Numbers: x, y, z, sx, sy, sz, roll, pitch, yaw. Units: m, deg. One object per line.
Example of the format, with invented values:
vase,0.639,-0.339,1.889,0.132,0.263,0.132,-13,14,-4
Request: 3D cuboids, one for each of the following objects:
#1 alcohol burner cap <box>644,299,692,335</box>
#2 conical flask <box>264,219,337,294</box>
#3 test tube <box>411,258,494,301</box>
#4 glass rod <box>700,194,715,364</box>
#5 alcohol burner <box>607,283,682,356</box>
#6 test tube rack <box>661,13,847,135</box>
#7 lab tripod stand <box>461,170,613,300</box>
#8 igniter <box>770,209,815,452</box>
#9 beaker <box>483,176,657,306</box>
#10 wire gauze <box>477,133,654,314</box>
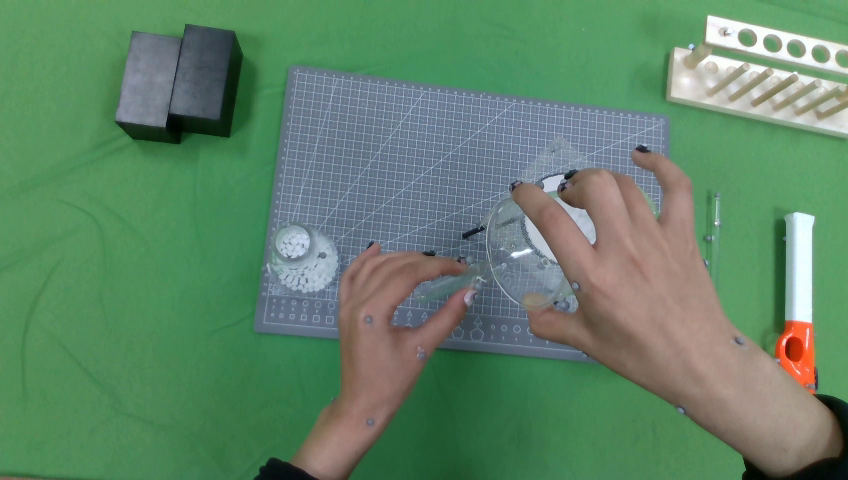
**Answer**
alcohol burner cap,0.242,0.073,0.592,0.034,0.048,0.033,3,74,-10
conical flask,-0.124,0.011,0.590,0.075,0.122,0.075,1,80,-7
test tube,0.018,0.034,0.489,0.017,0.150,0.017,4,77,-19
glass rod,0.329,0.043,0.702,0.008,0.008,0.199,8,82,-6
alcohol burner,0.237,0.081,0.627,0.078,0.119,0.077,1,79,-4
test tube rack,0.417,-0.191,0.713,0.243,0.085,0.066,10,79,-5
lab tripod stand,0.119,-0.009,0.618,0.148,0.131,0.148,1,81,-5
igniter,0.422,0.100,0.694,0.057,0.025,0.275,10,79,-16
beaker,0.100,-0.002,0.412,0.100,0.084,0.073,-14,80,-32
wire gauze,0.129,-0.018,0.552,0.125,0.011,0.121,43,79,2
